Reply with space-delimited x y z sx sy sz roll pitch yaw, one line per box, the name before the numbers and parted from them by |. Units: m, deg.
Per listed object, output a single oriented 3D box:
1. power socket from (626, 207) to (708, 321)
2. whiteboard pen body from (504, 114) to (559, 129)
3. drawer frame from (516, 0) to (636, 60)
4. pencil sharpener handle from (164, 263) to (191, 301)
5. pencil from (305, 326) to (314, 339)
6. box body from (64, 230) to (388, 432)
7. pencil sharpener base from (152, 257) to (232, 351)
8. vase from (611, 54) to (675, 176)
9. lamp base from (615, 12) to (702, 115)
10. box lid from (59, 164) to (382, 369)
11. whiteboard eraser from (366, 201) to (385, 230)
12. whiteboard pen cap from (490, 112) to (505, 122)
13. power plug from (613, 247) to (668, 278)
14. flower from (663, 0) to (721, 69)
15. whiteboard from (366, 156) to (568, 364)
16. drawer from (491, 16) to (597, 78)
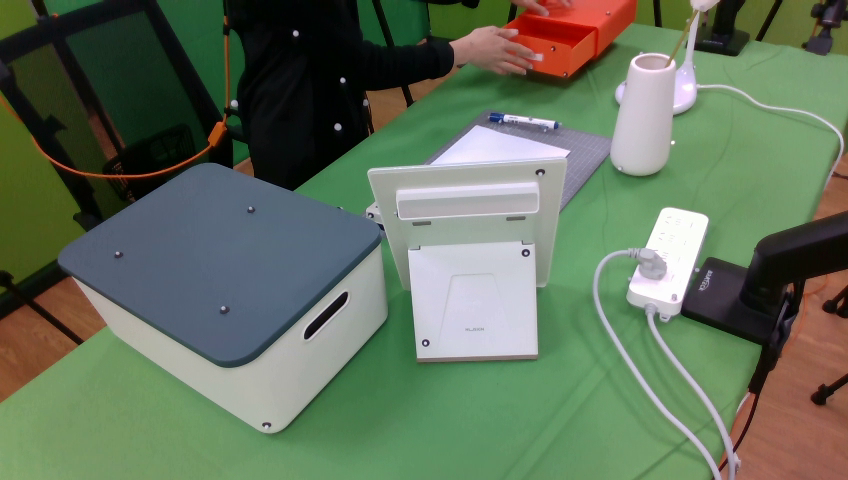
power socket | 0.359 0.025 0.886 0.072 0.033 0.227 16 46 26
whiteboard pen body | 0.205 -0.242 1.225 0.140 0.017 0.017 14 45 26
drawer frame | 0.356 -0.516 1.415 0.200 0.083 0.214 22 50 31
pencil sharpener handle | -0.354 0.055 0.866 0.036 0.068 0.030 -17 39 -29
pencil | -0.187 0.106 0.880 0.012 0.012 0.192 -27 41 -22
box body | -0.256 0.065 0.827 0.361 0.161 0.255 20 48 29
pencil sharpener base | -0.322 0.088 0.841 0.061 0.107 0.076 -28 44 -20
vase | 0.377 -0.209 1.031 0.098 0.201 0.097 -4 40 3
lamp base | 0.484 -0.364 1.211 0.180 0.181 0.159 -15 41 -13
box lid | -0.263 0.010 0.777 0.368 0.015 0.264 20 47 29
whiteboard eraser | -0.038 -0.038 1.006 0.112 0.042 0.055 16 47 25
whiteboard pen cap | 0.154 -0.254 1.250 0.033 0.018 0.018 14 45 26
power plug | 0.306 0.031 0.851 0.072 0.053 0.035 24 49 34
flower | 0.379 -0.261 0.965 0.044 0.362 0.038 20 52 5
whiteboard | 0.059 0.050 0.738 0.217 0.307 0.143 -2 60 6
drawer | 0.288 -0.451 1.354 0.193 0.073 0.212 23 48 32
